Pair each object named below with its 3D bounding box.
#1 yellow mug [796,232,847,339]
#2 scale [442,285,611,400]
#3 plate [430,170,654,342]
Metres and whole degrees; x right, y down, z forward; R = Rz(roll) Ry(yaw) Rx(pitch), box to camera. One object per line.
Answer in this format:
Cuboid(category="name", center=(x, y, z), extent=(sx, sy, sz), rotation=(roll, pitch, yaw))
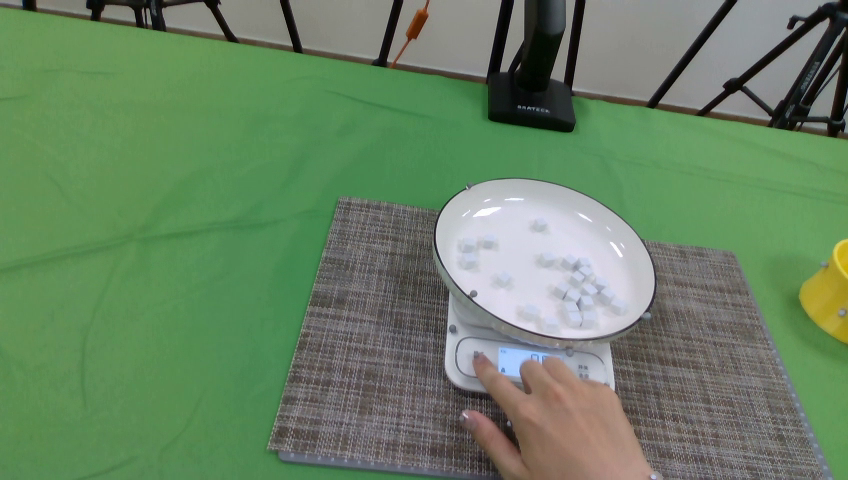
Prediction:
Cuboid(category="yellow mug", center=(0.453, 0.059, 0.616), extent=(0.100, 0.064, 0.129), rotation=(7, 45, -4))
Cuboid(category="scale", center=(0.096, 0.051, 0.572), extent=(0.149, 0.032, 0.199), rotation=(9, 45, -2))
Cuboid(category="plate", center=(0.106, 0.013, 0.566), extent=(0.209, 0.038, 0.207), rotation=(6, 45, -6))
